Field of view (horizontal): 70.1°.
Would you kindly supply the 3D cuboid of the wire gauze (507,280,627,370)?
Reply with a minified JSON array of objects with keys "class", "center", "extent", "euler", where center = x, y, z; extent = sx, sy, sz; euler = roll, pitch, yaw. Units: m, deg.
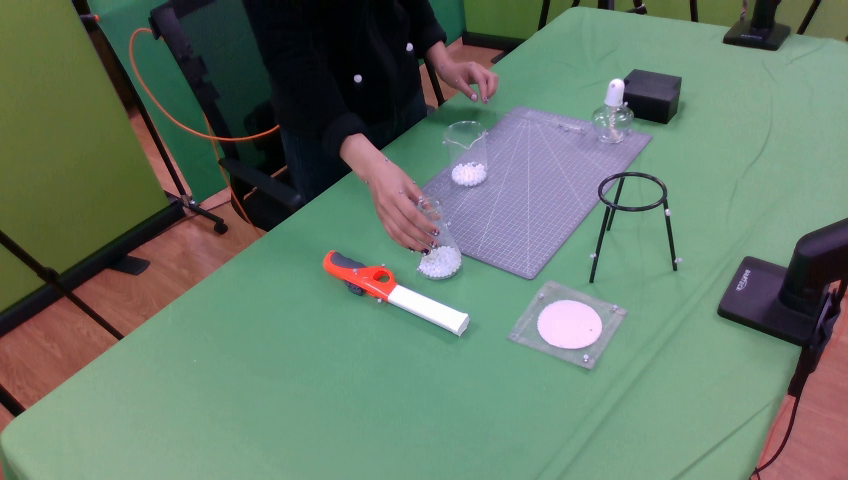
[{"class":"wire gauze","center":[0.196,0.114,0.823],"extent":[0.120,0.011,0.125],"euler":[20,50,31]}]

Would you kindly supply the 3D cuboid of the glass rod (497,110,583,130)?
[{"class":"glass rod","center":[0.233,-0.245,1.235],"extent":[0.198,0.008,0.008],"euler":[21,49,34]}]

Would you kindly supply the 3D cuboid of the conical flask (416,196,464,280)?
[{"class":"conical flask","center":[0.017,-0.006,0.908],"extent":[0.075,0.122,0.075],"euler":[-6,38,5]}]

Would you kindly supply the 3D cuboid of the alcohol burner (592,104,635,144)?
[{"class":"alcohol burner","center":[0.353,-0.242,1.126],"extent":[0.078,0.119,0.077],"euler":[-5,38,5]}]

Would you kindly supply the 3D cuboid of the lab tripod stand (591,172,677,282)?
[{"class":"lab tripod stand","center":[0.292,-0.022,0.867],"extent":[0.148,0.132,0.147],"euler":[-7,39,6]}]

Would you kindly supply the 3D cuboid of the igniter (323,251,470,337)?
[{"class":"igniter","center":[-0.052,0.075,0.901],"extent":[0.274,0.025,0.057],"euler":[22,60,32]}]

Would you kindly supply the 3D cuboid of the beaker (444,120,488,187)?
[{"class":"beaker","center":[0.078,-0.150,1.083],"extent":[0.074,0.101,0.083],"euler":[-9,41,1]}]

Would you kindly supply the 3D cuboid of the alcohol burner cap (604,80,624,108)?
[{"class":"alcohol burner cap","center":[0.350,-0.269,1.102],"extent":[0.034,0.048,0.033],"euler":[-2,46,2]}]
